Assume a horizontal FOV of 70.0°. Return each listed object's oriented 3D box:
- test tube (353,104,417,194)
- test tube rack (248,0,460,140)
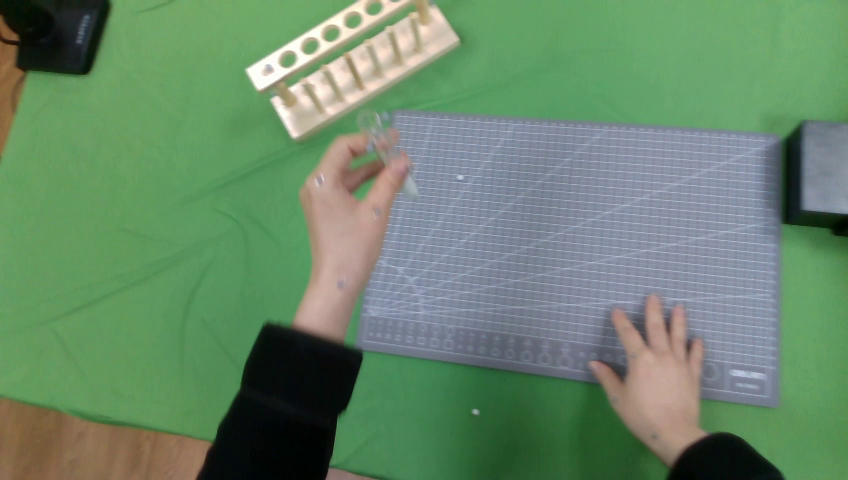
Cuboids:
[{"bbox_3d":[-0.027,-0.066,0.480,0.017,0.151,0.017,-3,75,11],"label":"test tube"},{"bbox_3d":[-0.080,-0.225,0.733,0.242,0.086,0.066,-31,74,0],"label":"test tube rack"}]
